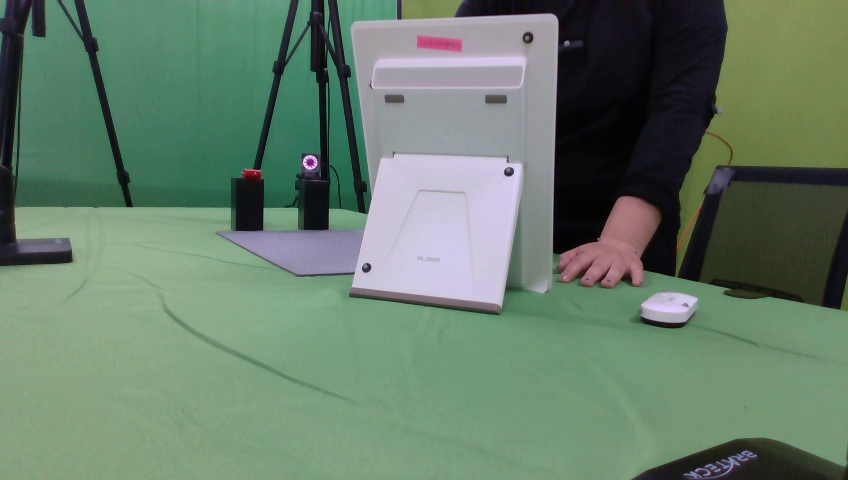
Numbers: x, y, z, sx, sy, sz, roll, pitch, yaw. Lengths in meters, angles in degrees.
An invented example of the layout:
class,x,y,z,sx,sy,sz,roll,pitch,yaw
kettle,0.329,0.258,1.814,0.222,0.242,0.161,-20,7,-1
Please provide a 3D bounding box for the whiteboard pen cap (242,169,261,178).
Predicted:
class,x,y,z,sx,sy,sz,roll,pitch,yaw
whiteboard pen cap,-0.326,-0.125,1.144,0.032,0.017,0.017,0,7,-37

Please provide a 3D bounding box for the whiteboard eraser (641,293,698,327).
class,x,y,z,sx,sy,sz,roll,pitch,yaw
whiteboard eraser,0.240,0.066,0.590,0.041,0.019,0.102,5,7,32

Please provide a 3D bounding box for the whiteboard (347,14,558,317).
class,x,y,z,sx,sy,sz,roll,pitch,yaw
whiteboard,0.012,-0.056,0.608,0.216,0.305,0.144,6,28,20

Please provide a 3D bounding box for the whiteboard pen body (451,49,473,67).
class,x,y,z,sx,sy,sz,roll,pitch,yaw
whiteboard pen body,0.043,-0.205,0.681,0.017,0.017,0.140,4,19,8
